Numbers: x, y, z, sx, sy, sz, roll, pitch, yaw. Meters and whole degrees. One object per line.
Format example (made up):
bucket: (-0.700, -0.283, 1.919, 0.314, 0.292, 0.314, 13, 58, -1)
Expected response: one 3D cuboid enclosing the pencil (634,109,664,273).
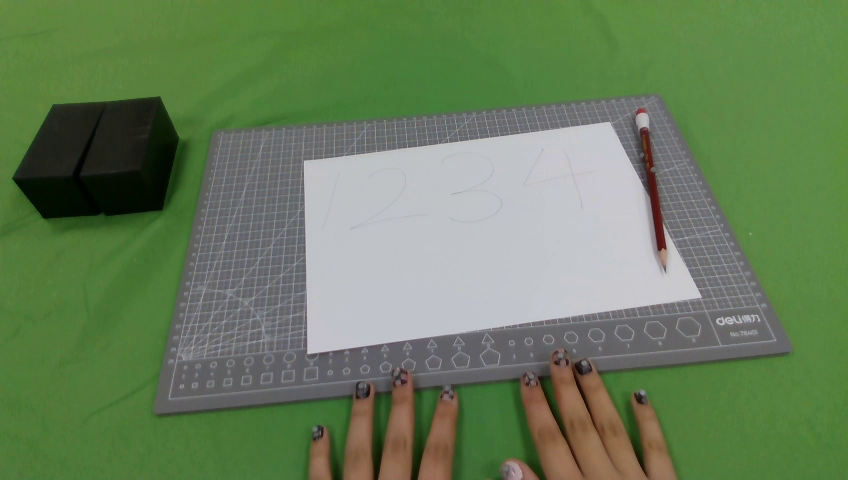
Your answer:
pencil: (0.198, -0.050, 0.531, 0.012, 0.012, 0.192, 5, 52, 6)
